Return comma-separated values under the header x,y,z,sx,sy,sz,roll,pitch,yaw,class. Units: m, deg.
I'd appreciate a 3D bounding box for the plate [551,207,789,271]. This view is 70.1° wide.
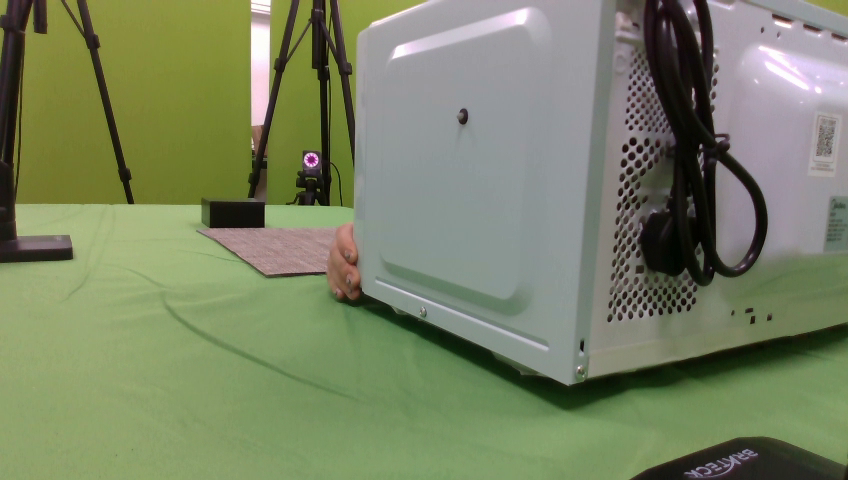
x,y,z,sx,sy,sz,roll,pitch,yaw,class
0.224,-0.003,0.572,0.209,0.038,0.209,3,8,0,plate

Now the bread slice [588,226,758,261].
x,y,z,sx,sy,sz,roll,pitch,yaw,class
0.225,0.002,0.569,0.132,0.019,0.104,5,4,-23,bread slice

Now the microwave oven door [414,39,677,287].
x,y,z,sx,sy,sz,roll,pitch,yaw,class
0.156,-0.079,0.688,0.358,0.243,0.039,-2,8,-31,microwave oven door

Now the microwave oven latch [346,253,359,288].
x,y,z,sx,sy,sz,roll,pitch,yaw,class
-0.034,0.029,0.573,0.079,0.029,0.030,1,6,-18,microwave oven latch

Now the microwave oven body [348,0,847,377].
x,y,z,sx,sy,sz,roll,pitch,yaw,class
0.199,-0.053,0.539,0.444,0.260,0.324,-1,7,-32,microwave oven body
